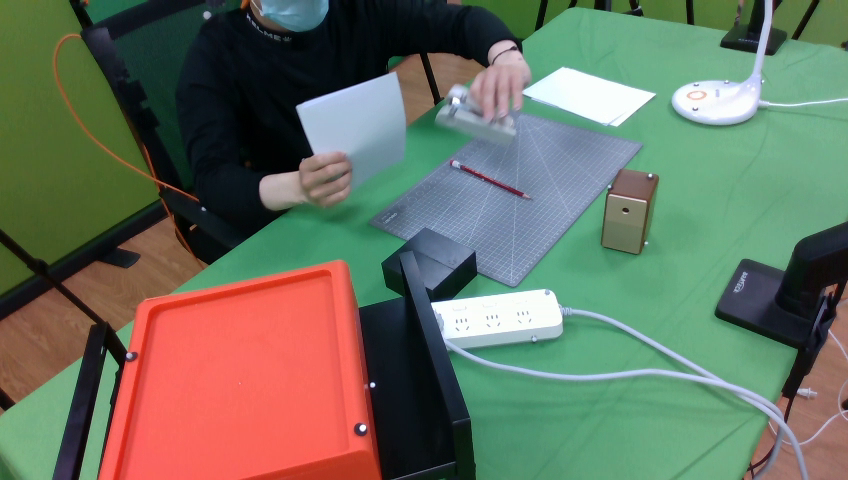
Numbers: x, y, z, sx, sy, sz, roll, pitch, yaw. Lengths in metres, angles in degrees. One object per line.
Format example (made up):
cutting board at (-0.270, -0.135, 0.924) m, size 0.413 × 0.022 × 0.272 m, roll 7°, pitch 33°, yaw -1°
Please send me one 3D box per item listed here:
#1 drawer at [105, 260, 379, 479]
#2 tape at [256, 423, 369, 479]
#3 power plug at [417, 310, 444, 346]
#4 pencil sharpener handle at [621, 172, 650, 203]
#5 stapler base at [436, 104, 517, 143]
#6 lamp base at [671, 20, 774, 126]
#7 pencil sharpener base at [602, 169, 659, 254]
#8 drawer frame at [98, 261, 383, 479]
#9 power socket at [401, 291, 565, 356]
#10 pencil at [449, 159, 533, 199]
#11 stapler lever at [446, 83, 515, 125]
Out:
drawer at (-0.150, 0.127, 0.525) m, size 0.195 × 0.073 × 0.210 m, roll -11°, pitch 41°, yaw -5°
tape at (-0.121, 0.263, 0.660) m, size 0.117 × 0.053 × 0.116 m, roll -4°, pitch 40°, yaw 4°
power plug at (0.006, 0.122, 0.785) m, size 0.035 × 0.053 × 0.072 m, roll -1°, pitch 40°, yaw 8°
pencil sharpener handle at (0.328, -0.087, 0.940) m, size 0.036 × 0.068 × 0.030 m, roll 30°, pitch 49°, yaw 7°
stapler base at (0.085, -0.192, 0.962) m, size 0.131 × 0.041 × 0.024 m, roll 18°, pitch 72°, yaw -16°
lamp base at (0.581, -0.332, 1.154) m, size 0.179 × 0.181 × 0.160 m, roll 2°, pitch 41°, yaw 7°
pencil sharpener base at (0.312, -0.044, 0.913) m, size 0.061 × 0.107 × 0.077 m, roll 14°, pitch 45°, yaw 24°
drawer frame at (-0.148, 0.129, 0.519) m, size 0.202 × 0.083 × 0.212 m, roll -12°, pitch 41°, yaw -6°
power socket at (0.080, 0.112, 0.822) m, size 0.227 × 0.033 × 0.072 m, roll -6°, pitch 41°, yaw 0°
pencil at (0.118, -0.110, 1.091) m, size 0.192 × 0.012 × 0.012 m, roll 30°, pitch 53°, yaw 34°
stapler lever at (0.091, -0.214, 0.971) m, size 0.119 × 0.026 × 0.040 m, roll 18°, pitch 72°, yaw -16°
